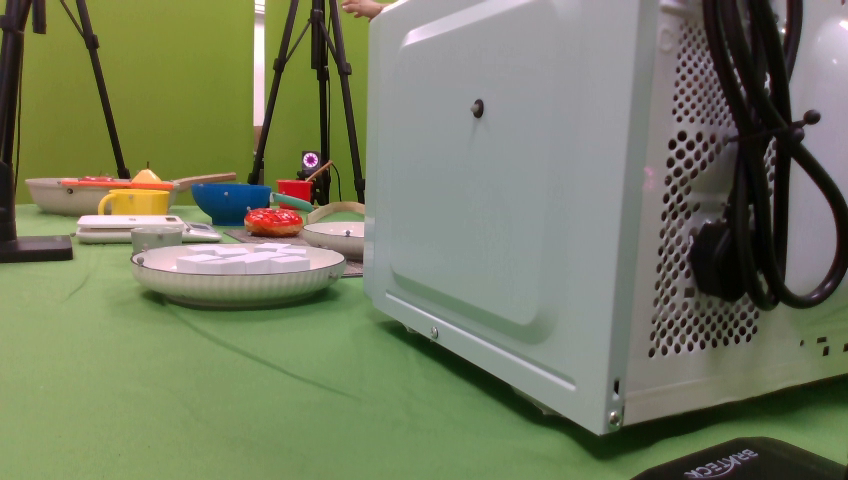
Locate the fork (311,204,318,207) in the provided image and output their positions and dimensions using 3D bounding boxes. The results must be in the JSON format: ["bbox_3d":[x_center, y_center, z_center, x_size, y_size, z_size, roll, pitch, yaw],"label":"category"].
[{"bbox_3d":[-0.356,-0.105,1.526,0.208,0.018,0.028,16,-6,-41],"label":"fork"}]

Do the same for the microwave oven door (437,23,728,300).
[{"bbox_3d":[0.181,-0.072,0.621,0.358,0.243,0.039,-2,8,-29],"label":"microwave oven door"}]

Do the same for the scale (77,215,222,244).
[{"bbox_3d":[-0.434,-0.019,0.963,0.202,0.031,0.148,-1,9,-27],"label":"scale"}]

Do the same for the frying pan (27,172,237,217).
[{"bbox_3d":[-0.624,-0.118,1.387,0.305,0.102,0.490,8,17,32],"label":"frying pan"}]

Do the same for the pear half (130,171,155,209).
[{"bbox_3d":[-0.640,-0.113,1.361,0.031,0.088,0.070,5,10,5],"label":"pear half"}]

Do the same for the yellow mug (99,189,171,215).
[{"bbox_3d":[-0.518,-0.055,1.080,0.099,0.064,0.131,6,9,26],"label":"yellow mug"}]

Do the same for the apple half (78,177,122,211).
[{"bbox_3d":[-0.698,-0.099,1.298,0.081,0.074,0.053,-9,9,-40],"label":"apple half"}]

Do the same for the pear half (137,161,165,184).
[{"bbox_3d":[-0.604,-0.120,1.354,0.056,0.110,0.076,3,11,7],"label":"pear half"}]

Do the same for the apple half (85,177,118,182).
[{"bbox_3d":[-0.673,-0.096,1.269,0.082,0.081,0.032,-4,6,-40],"label":"apple half"}]

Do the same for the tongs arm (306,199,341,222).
[{"bbox_3d":[-0.234,-0.070,1.414,0.028,0.028,0.387,-5,8,1],"label":"tongs arm"}]

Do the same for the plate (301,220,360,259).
[{"bbox_3d":[-0.077,-0.002,0.893,0.209,0.038,0.209,3,8,0],"label":"plate"}]

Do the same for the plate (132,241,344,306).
[{"bbox_3d":[-0.187,0.033,0.625,0.208,0.039,0.207,2,7,0],"label":"plate"}]

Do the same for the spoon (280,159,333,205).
[{"bbox_3d":[-0.316,-0.159,1.640,0.194,0.022,0.041,-50,31,-20],"label":"spoon"}]

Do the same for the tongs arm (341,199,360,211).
[{"bbox_3d":[-0.149,-0.071,1.429,0.051,0.026,0.383,-3,9,-15],"label":"tongs arm"}]

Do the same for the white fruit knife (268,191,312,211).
[{"bbox_3d":[-0.364,-0.105,1.463,0.208,0.027,0.016,15,-2,-34],"label":"white fruit knife"}]

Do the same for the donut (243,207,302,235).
[{"bbox_3d":[-0.261,-0.032,1.043,0.099,0.048,0.099,4,9,0],"label":"donut"}]

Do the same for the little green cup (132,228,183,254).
[{"bbox_3d":[-0.342,0.006,0.779,0.061,0.038,0.061,2,8,0],"label":"little green cup"}]

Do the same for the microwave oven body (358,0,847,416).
[{"bbox_3d":[0.211,-0.047,0.475,0.444,0.260,0.324,-1,7,-28],"label":"microwave oven body"}]

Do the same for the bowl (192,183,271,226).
[{"bbox_3d":[-0.382,-0.071,1.202,0.151,0.077,0.151,3,7,0],"label":"bowl"}]

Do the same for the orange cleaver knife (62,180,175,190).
[{"bbox_3d":[-0.600,-0.110,1.193,0.212,0.012,0.077,1,8,-13],"label":"orange cleaver knife"}]

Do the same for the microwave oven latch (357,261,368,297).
[{"bbox_3d":[-0.019,0.033,0.531,0.079,0.029,0.030,-1,7,-27],"label":"microwave oven latch"}]
